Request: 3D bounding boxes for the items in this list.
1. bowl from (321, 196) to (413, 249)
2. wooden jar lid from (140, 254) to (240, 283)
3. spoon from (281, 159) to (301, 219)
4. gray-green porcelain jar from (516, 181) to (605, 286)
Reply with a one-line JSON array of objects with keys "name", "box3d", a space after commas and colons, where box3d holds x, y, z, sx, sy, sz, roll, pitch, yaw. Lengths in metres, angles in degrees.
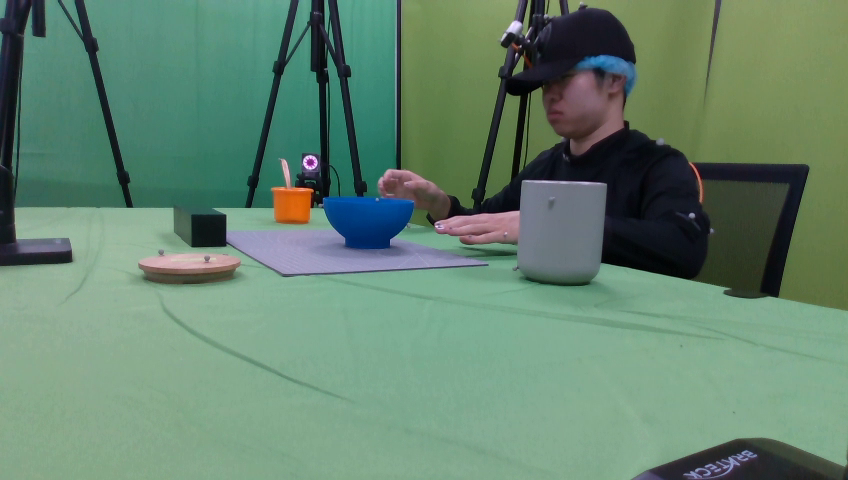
[{"name": "bowl", "box3d": [-0.094, -0.029, 0.992, 0.151, 0.077, 0.151, 3, 7, 0]}, {"name": "wooden jar lid", "box3d": [-0.269, 0.032, 0.698, 0.108, 0.020, 0.108, 2, 5, 0]}, {"name": "spoon", "box3d": [-0.307, -0.117, 1.368, 0.042, 0.193, 0.021, 1, -37, -23]}, {"name": "gray-green porcelain jar", "box3d": [0.171, -0.010, 0.768, 0.106, 0.126, 0.106, 2, 7, 0]}]
